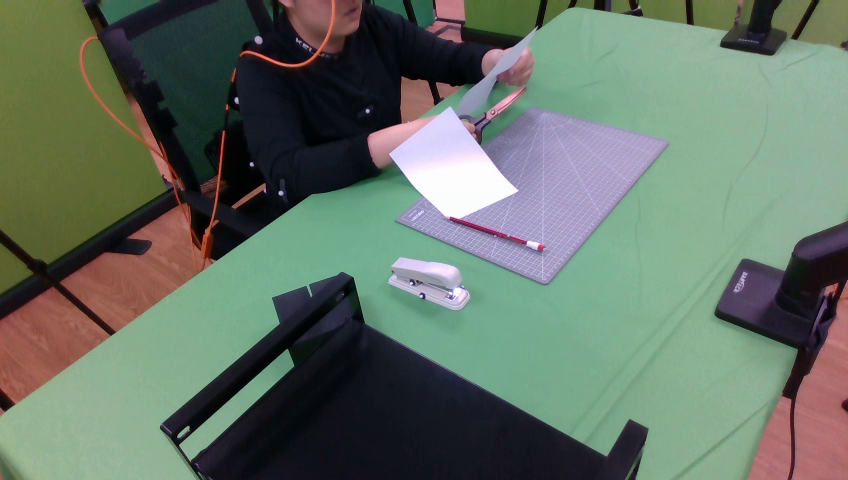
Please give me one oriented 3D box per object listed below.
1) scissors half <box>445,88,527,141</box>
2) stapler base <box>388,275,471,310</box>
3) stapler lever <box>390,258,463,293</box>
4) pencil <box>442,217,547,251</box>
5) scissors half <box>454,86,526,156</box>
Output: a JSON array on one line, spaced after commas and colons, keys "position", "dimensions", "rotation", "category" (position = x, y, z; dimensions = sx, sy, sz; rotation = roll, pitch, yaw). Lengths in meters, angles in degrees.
[{"position": [0.114, -0.236, 1.123], "dimensions": [0.174, 0.013, 0.040], "rotation": [-25, 70, 21], "category": "scissors half"}, {"position": [0.007, 0.066, 0.897], "dimensions": [0.129, 0.024, 0.041], "rotation": [17, 43, 29], "category": "stapler base"}, {"position": [0.003, 0.046, 0.881], "dimensions": [0.117, 0.040, 0.027], "rotation": [17, 44, 29], "category": "stapler lever"}, {"position": [0.110, -0.012, 0.980], "dimensions": [0.192, 0.012, 0.012], "rotation": [18, 46, 30], "category": "pencil"}, {"position": [0.123, -0.219, 1.116], "dimensions": [0.175, 0.013, 0.040], "rotation": [-46, 69, 13], "category": "scissors half"}]
